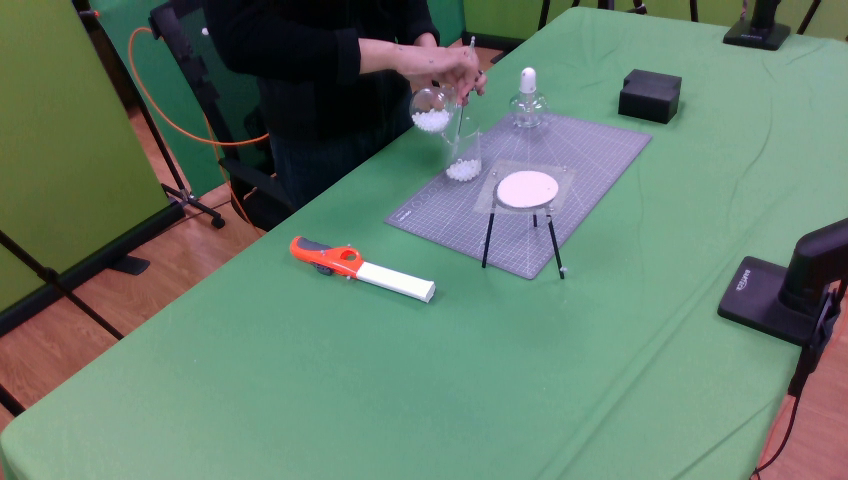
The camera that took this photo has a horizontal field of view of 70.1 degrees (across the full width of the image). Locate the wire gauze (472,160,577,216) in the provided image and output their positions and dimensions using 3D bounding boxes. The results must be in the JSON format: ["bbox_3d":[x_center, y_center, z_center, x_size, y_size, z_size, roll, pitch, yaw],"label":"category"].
[{"bbox_3d":[0.143,-0.073,0.850,0.121,0.011,0.125,8,43,22],"label":"wire gauze"}]

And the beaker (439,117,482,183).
[{"bbox_3d":[0.068,-0.160,1.096,0.073,0.101,0.084,7,43,19],"label":"beaker"}]

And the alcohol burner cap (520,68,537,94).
[{"bbox_3d":[0.205,-0.313,1.183,0.034,0.048,0.033,-3,50,4],"label":"alcohol burner cap"}]

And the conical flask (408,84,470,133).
[{"bbox_3d":[0.033,-0.226,0.992,0.075,0.075,0.122,13,31,25],"label":"conical flask"}]

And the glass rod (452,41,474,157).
[{"bbox_3d":[0.067,-0.244,1.052,0.008,0.199,0.008,9,11,-1],"label":"glass rod"}]

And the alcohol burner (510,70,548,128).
[{"bbox_3d":[0.209,-0.287,1.207,0.078,0.119,0.077,-5,42,5],"label":"alcohol burner"}]

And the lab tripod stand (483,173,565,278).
[{"bbox_3d":[0.151,-0.025,0.896,0.148,0.132,0.147,-7,40,6],"label":"lab tripod stand"}]

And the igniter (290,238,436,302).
[{"bbox_3d":[-0.106,0.043,0.949,0.274,0.025,0.057,16,57,27],"label":"igniter"}]
